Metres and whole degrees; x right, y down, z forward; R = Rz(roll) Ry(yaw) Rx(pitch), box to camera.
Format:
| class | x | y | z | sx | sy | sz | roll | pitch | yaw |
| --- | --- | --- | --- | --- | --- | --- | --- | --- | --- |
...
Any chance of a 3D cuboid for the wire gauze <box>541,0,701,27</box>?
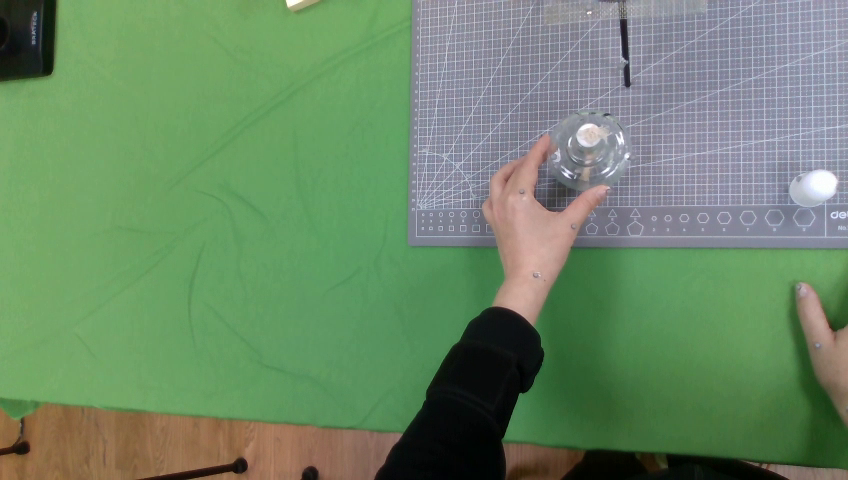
| class | x | y | z | sx | sy | sz | roll | pitch | yaw |
| --- | --- | --- | --- | --- | --- | --- | --- | --- | --- |
| wire gauze | 0.155 | -0.234 | 0.485 | 0.125 | 0.011 | 0.121 | 0 | 90 | 14 |

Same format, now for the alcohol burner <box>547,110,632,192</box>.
| class | x | y | z | sx | sy | sz | roll | pitch | yaw |
| --- | --- | --- | --- | --- | --- | --- | --- | --- | --- |
| alcohol burner | 0.151 | -0.085 | 0.557 | 0.077 | 0.119 | 0.078 | -1 | 86 | 15 |

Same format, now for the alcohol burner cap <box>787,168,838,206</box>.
| class | x | y | z | sx | sy | sz | roll | pitch | yaw |
| --- | --- | --- | --- | --- | --- | --- | --- | --- | --- |
| alcohol burner cap | 0.346 | -0.049 | 0.535 | 0.034 | 0.048 | 0.034 | -1 | 86 | 17 |

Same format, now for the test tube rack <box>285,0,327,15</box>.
| class | x | y | z | sx | sy | sz | roll | pitch | yaw |
| --- | --- | --- | --- | --- | --- | --- | --- | --- | --- |
| test tube rack | -0.065 | -0.336 | 0.652 | 0.242 | 0.085 | 0.066 | -17 | 82 | 15 |

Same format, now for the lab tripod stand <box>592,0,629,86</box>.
| class | x | y | z | sx | sy | sz | roll | pitch | yaw |
| --- | --- | --- | --- | --- | --- | --- | --- | --- | --- |
| lab tripod stand | 0.174 | -0.229 | 0.548 | 0.148 | 0.132 | 0.148 | -1 | 88 | 15 |
